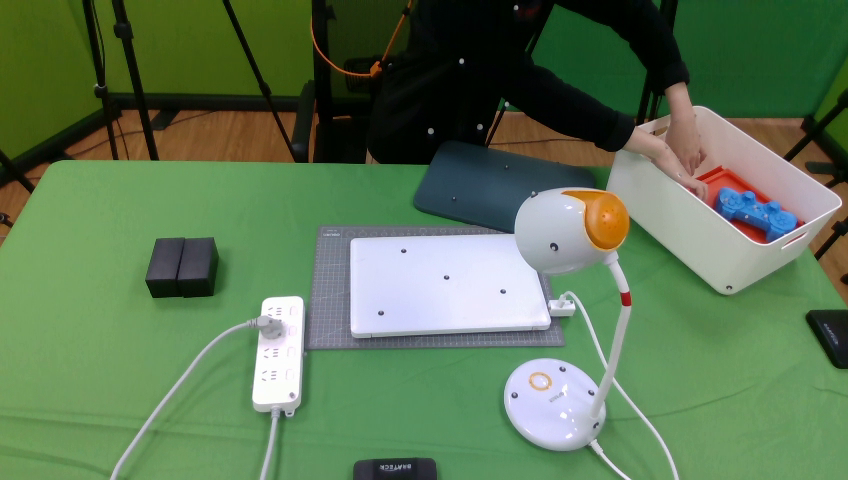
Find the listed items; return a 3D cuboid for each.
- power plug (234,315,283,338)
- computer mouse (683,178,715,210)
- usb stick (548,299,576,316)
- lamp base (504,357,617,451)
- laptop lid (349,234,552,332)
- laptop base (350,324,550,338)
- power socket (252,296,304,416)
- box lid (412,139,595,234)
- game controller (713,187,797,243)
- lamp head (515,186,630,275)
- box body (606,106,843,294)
[{"bbox_3d":[-0.269,0.143,1.000,0.072,0.053,0.035,4,47,3],"label":"power plug"},{"bbox_3d":[0.596,-0.078,1.291,0.117,0.041,0.063,56,46,-7],"label":"computer mouse"},{"bbox_3d":[0.239,0.121,1.084,0.059,0.027,0.021,-1,51,-1],"label":"usb stick"},{"bbox_3d":[0.220,0.211,0.903,0.160,0.181,0.178,-33,59,-30],"label":"lamp base"},{"bbox_3d":[0.040,0.071,1.118,0.357,0.013,0.240,0,44,-5],"label":"laptop lid"},{"bbox_3d":[0.039,0.081,1.125,0.355,0.023,0.234,-2,43,-6],"label":"laptop base"},{"bbox_3d":[-0.238,0.181,0.997,0.072,0.033,0.225,-3,47,-5],"label":"power socket"},{"bbox_3d":[0.182,-0.111,1.327,0.371,0.015,0.262,14,46,10],"label":"box lid"},{"bbox_3d":[0.646,-0.058,1.184,0.154,0.052,0.097,27,54,20],"label":"game controller"},{"bbox_3d":[0.188,-0.013,0.728,0.112,0.112,0.122,-25,9,-25],"label":"lamp head"},{"bbox_3d":[0.582,-0.089,1.230,0.254,0.161,0.361,-22,52,-23],"label":"box body"}]
